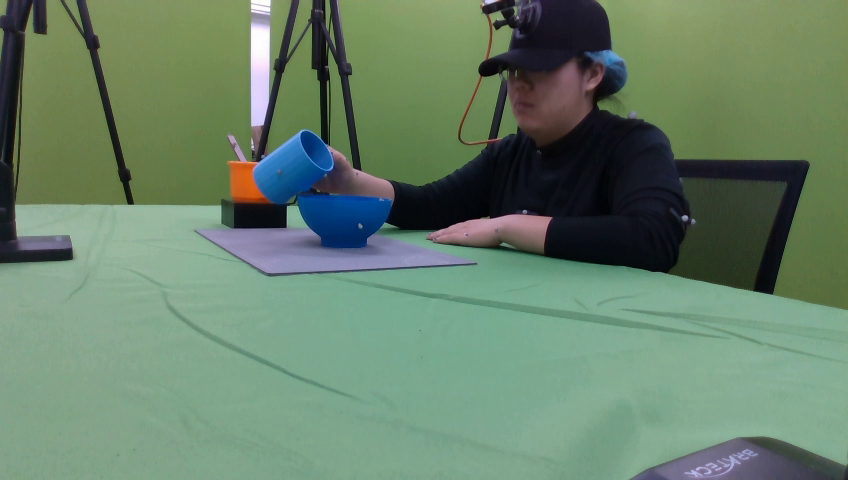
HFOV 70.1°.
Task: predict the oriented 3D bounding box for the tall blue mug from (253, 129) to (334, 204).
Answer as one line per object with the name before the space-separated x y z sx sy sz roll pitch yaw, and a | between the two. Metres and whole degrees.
tall blue mug | -0.209 -0.126 0.988 0.107 0.078 0.107 -31 27 23

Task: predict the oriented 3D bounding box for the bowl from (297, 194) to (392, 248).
bowl | -0.127 -0.030 0.964 0.151 0.077 0.151 2 7 0

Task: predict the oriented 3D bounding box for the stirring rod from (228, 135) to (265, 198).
stirring rod | -0.352 -0.148 1.198 0.014 0.006 0.175 -6 53 -44
